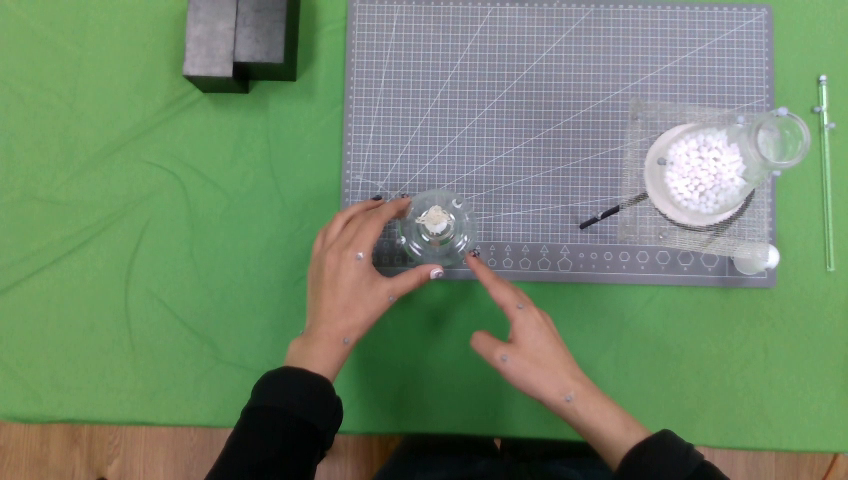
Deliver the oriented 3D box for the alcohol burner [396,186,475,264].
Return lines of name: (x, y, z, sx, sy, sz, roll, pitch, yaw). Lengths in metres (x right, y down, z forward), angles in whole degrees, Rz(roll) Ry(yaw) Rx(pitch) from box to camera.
alcohol burner: (0.010, -0.016, 0.577, 0.078, 0.119, 0.078, 0, 87, 3)

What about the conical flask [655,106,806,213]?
conical flask: (0.224, -0.062, 0.440, 0.075, 0.122, 0.075, 0, 87, 2)

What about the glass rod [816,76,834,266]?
glass rod: (0.413, -0.073, 0.625, 0.008, 0.008, 0.199, 0, 85, 1)

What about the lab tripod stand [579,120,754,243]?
lab tripod stand: (0.226, -0.047, 0.564, 0.148, 0.131, 0.148, 0, 87, 2)

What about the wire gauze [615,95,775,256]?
wire gauze: (0.222, -0.054, 0.498, 0.125, 0.011, 0.121, 7, 89, 0)

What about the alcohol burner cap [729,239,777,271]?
alcohol burner cap: (0.330, 0.013, 0.602, 0.034, 0.048, 0.034, 0, 85, 2)
